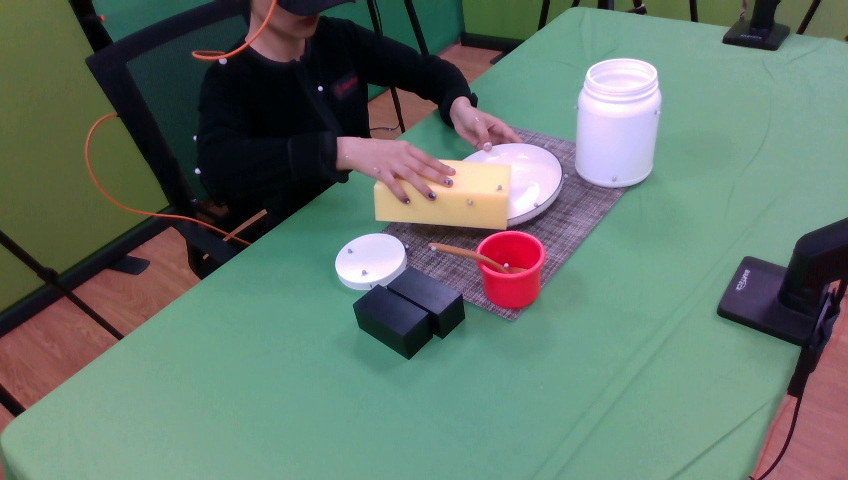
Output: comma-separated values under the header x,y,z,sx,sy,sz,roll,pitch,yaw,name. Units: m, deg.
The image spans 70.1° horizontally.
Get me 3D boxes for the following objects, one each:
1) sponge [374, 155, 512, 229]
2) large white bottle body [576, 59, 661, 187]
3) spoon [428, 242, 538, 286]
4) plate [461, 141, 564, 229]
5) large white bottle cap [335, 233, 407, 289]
x,y,z,sx,sy,sz,roll,pitch,yaw,name
0.034,-0.079,0.965,0.207,0.061,0.118,5,32,5,sponge
0.326,-0.197,1.021,0.130,0.185,0.130,-5,40,5,large white bottle body
0.084,0.030,0.832,0.195,0.021,0.041,22,26,-34,spoon
0.134,-0.090,1.030,0.209,0.038,0.208,-11,43,11,plate
-0.084,0.031,0.961,0.115,0.018,0.114,-6,42,6,large white bottle cap
